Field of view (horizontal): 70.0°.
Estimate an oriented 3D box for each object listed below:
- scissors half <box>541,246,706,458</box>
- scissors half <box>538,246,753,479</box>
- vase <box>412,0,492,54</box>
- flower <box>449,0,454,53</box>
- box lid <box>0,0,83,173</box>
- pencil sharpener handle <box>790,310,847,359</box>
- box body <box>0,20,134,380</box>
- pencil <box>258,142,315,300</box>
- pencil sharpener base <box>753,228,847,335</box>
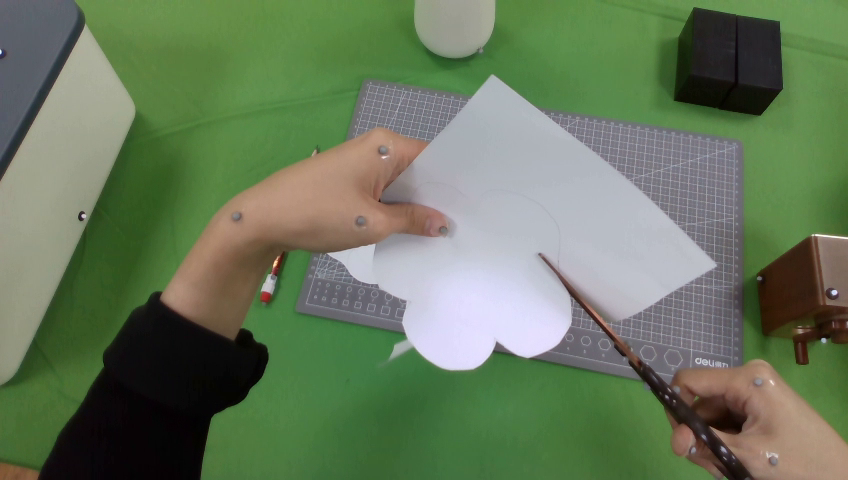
[{"bbox_3d":[0.124,0.068,0.367,0.013,0.040,0.176,-40,104,5],"label":"scissors half"},{"bbox_3d":[0.124,0.070,0.346,0.013,0.040,0.174,-40,81,0],"label":"scissors half"},{"bbox_3d":[0.032,-0.302,0.670,0.098,0.201,0.097,0,66,1],"label":"vase"},{"bbox_3d":[0.028,-0.348,0.599,0.044,0.365,0.038,3,49,5],"label":"flower"},{"bbox_3d":[-0.481,-0.092,0.519,0.263,0.015,0.369,11,67,4],"label":"box lid"},{"bbox_3d":[0.361,0.087,0.547,0.036,0.068,0.030,11,67,-10],"label":"pencil sharpener handle"},{"bbox_3d":[-0.481,-0.061,0.587,0.254,0.161,0.361,10,68,4],"label":"box body"},{"bbox_3d":[-0.146,-0.026,0.659,0.012,0.012,0.193,11,66,5],"label":"pencil"},{"bbox_3d":[0.370,0.046,0.578,0.061,0.108,0.076,6,68,3],"label":"pencil sharpener base"}]
